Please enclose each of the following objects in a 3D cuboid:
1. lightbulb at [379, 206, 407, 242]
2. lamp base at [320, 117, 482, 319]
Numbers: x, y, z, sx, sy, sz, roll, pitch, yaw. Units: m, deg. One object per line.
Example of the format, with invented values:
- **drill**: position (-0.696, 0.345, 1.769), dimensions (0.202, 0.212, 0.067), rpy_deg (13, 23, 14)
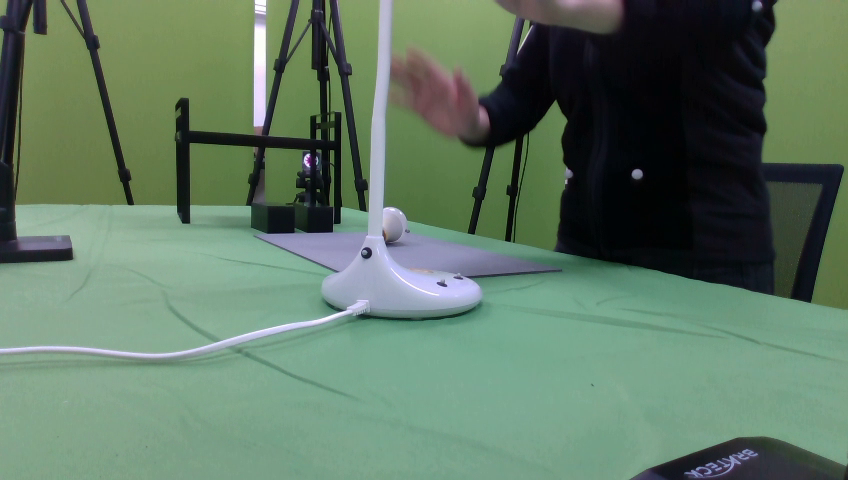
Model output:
- **lightbulb**: position (-0.067, -0.019, 1.001), dimensions (0.059, 0.059, 0.108), rpy_deg (5, 24, 20)
- **lamp base**: position (-0.023, -0.025, 0.579), dimensions (0.160, 0.180, 0.179), rpy_deg (4, 10, 16)
